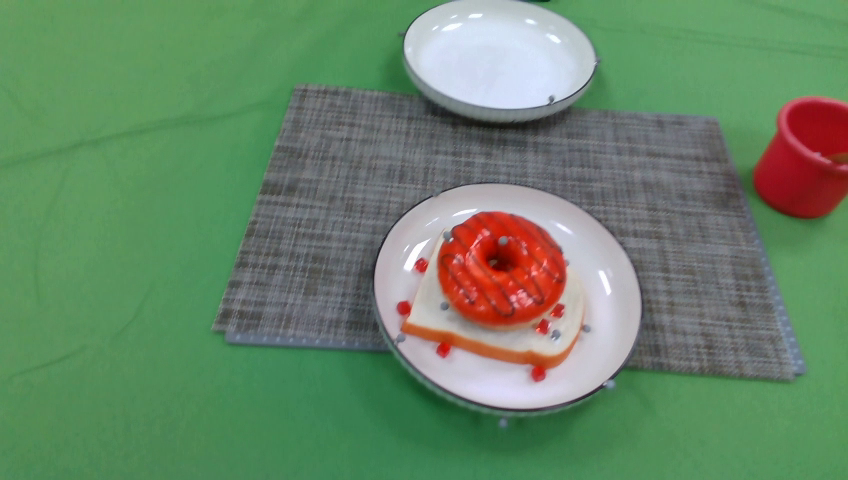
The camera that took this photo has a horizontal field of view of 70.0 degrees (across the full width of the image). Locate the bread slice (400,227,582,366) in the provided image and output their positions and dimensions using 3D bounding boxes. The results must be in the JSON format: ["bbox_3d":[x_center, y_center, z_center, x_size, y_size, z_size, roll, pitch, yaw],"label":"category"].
[{"bbox_3d":[0.058,0.043,0.477,0.131,0.019,0.104,14,53,9],"label":"bread slice"}]

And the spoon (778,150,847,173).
[{"bbox_3d":[0.346,-0.069,0.516,0.041,0.022,0.194,21,10,12],"label":"spoon"}]

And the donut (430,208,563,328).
[{"bbox_3d":[0.053,0.020,0.447,0.099,0.048,0.098,1,53,-1],"label":"donut"}]

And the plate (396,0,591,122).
[{"bbox_3d":[0.073,-0.193,0.658,0.208,0.039,0.205,2,51,-2],"label":"plate"}]

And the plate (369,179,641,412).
[{"bbox_3d":[0.061,0.039,0.477,0.209,0.038,0.207,2,53,-2],"label":"plate"}]
